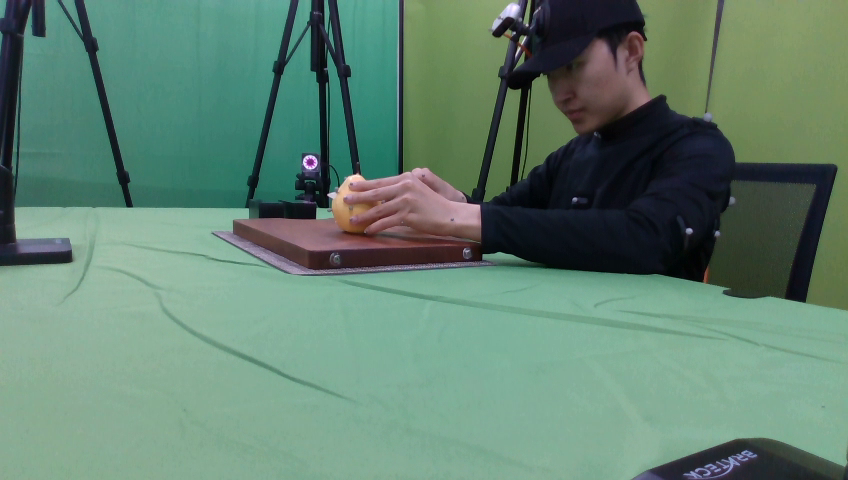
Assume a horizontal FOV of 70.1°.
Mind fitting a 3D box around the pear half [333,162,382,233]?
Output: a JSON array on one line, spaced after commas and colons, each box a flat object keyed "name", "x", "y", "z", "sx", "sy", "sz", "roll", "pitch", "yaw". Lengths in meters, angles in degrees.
[{"name": "pear half", "x": -0.097, "y": -0.064, "z": 0.929, "sx": 0.077, "sy": 0.110, "sz": 0.055, "roll": -13, "pitch": 14, "yaw": -42}]

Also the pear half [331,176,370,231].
[{"name": "pear half", "x": -0.121, "y": -0.059, "z": 0.957, "sx": 0.031, "sy": 0.088, "sz": 0.071, "roll": 8, "pitch": 16, "yaw": 44}]

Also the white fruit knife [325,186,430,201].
[{"name": "white fruit knife", "x": -0.070, "y": -0.074, "z": 0.980, "sx": 0.208, "sy": 0.027, "sz": 0.016, "roll": -5, "pitch": 13, "yaw": -41}]
